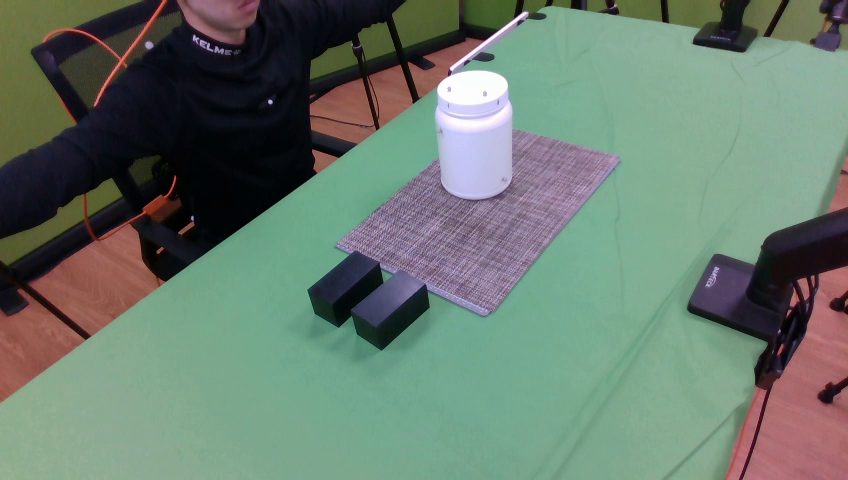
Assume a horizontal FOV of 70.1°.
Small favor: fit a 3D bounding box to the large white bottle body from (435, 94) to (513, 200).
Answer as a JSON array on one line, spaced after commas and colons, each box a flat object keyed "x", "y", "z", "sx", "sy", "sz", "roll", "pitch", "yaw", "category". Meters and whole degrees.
[{"x": 0.086, "y": -0.176, "z": 1.030, "sx": 0.130, "sy": 0.185, "sz": 0.130, "roll": -4, "pitch": 41, "yaw": 4, "category": "large white bottle body"}]

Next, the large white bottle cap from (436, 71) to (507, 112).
[{"x": 0.077, "y": -0.241, "z": 0.976, "sx": 0.115, "sy": 0.018, "sz": 0.114, "roll": -4, "pitch": 41, "yaw": 4, "category": "large white bottle cap"}]
